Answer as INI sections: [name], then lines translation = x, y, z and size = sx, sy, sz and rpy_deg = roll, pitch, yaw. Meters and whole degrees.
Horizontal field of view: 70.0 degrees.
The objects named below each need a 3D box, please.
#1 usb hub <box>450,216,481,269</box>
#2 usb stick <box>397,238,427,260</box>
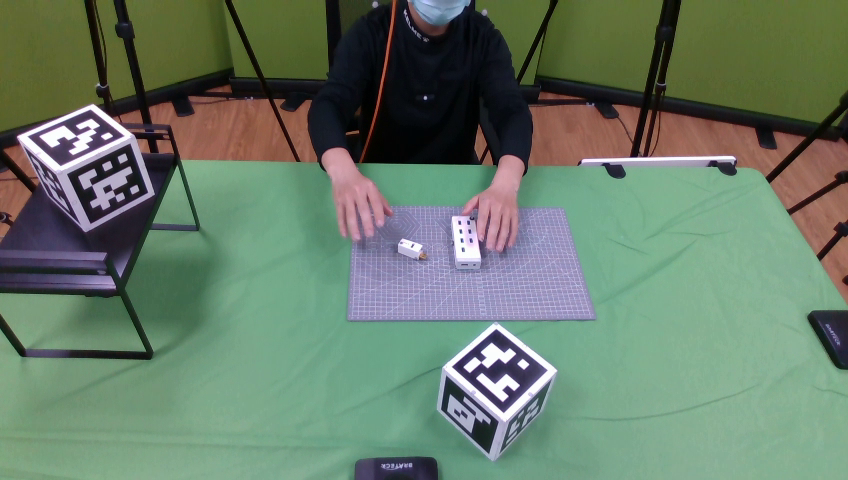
[usb hub]
translation = 0.082, 0.003, 1.194
size = 0.049, 0.025, 0.124
rpy_deg = 0, 46, -4
[usb stick]
translation = -0.021, 0.020, 1.169
size = 0.059, 0.027, 0.021
rpy_deg = 22, 49, 13
